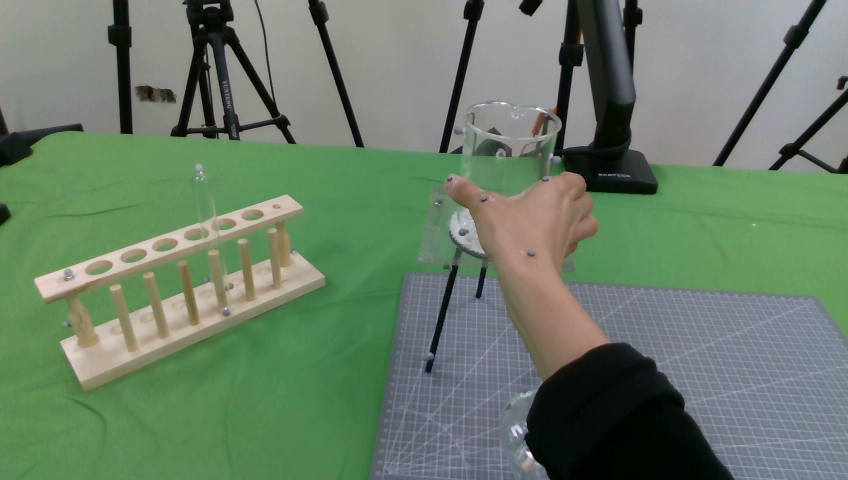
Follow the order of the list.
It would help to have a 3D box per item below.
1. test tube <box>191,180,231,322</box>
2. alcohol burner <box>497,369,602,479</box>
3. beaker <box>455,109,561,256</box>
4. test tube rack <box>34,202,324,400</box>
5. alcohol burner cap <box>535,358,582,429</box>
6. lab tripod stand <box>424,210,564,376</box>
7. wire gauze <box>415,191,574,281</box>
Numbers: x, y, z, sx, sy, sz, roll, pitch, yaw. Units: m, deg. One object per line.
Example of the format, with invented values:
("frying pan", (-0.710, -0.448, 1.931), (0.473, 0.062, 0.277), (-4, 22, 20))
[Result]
("test tube", (-0.195, 0.014, 0.558), (0.017, 0.151, 0.017), (2, 32, -1))
("alcohol burner", (0.093, 0.133, 0.439), (0.078, 0.120, 0.077), (2, 35, -1))
("beaker", (0.063, -0.046, 0.484), (0.074, 0.101, 0.083), (10, 34, 9))
("test tube rack", (-0.221, 0.049, 0.585), (0.243, 0.086, 0.066), (-24, 41, -33))
("alcohol burner cap", (0.095, 0.103, 0.420), (0.034, 0.048, 0.033), (0, 33, 1))
("lab tripod stand", (0.066, 0.050, 0.547), (0.148, 0.132, 0.147), (3, 32, -1))
("wire gauze", (0.060, -0.004, 0.510), (0.121, 0.011, 0.124), (5, 35, 4))
